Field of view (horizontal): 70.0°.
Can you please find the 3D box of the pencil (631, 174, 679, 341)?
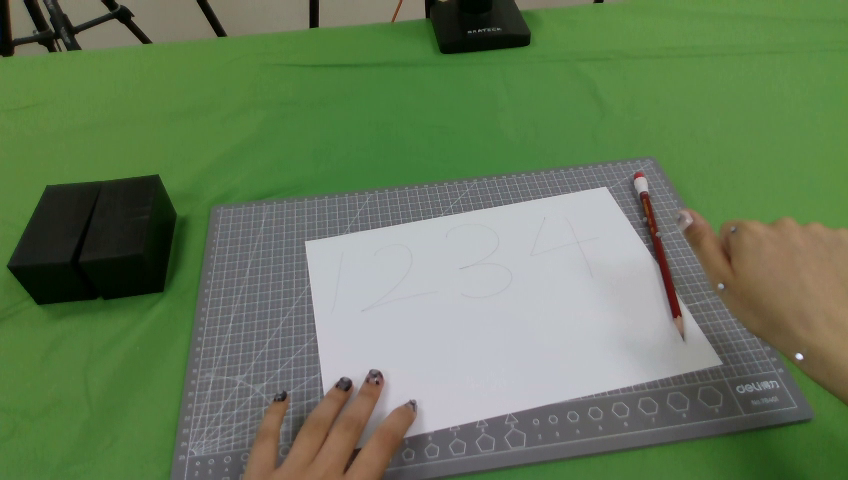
[{"bbox_3d":[0.205,0.008,0.537,0.012,0.012,0.192,2,48,3],"label":"pencil"}]
